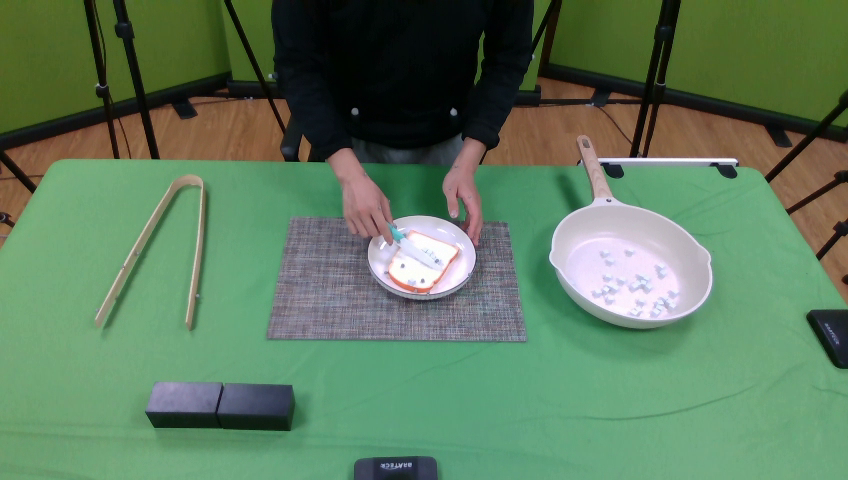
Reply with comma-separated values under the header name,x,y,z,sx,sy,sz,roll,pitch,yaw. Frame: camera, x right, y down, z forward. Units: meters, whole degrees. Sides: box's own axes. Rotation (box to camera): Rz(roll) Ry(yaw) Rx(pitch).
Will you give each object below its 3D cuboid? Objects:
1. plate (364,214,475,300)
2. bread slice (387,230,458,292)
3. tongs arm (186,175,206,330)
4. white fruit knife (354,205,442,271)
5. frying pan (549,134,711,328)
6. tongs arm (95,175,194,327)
name,x,y,z,sx,sy,sz,roll,pitch,yaw
plate,-0.010,0.036,1.147,0.208,0.039,0.206,2,46,-2
bread slice,-0.007,0.043,1.142,0.107,0.018,0.134,18,46,14
tongs arm,-0.436,0.009,1.151,0.028,0.028,0.385,-7,47,-8
white fruit knife,-0.048,-0.005,1.137,0.207,0.027,0.016,36,33,13
frying pan,0.372,-0.035,1.203,0.307,0.103,0.484,-1,55,-6
tongs arm,-0.515,0.005,1.142,0.051,0.026,0.382,4,45,-2
